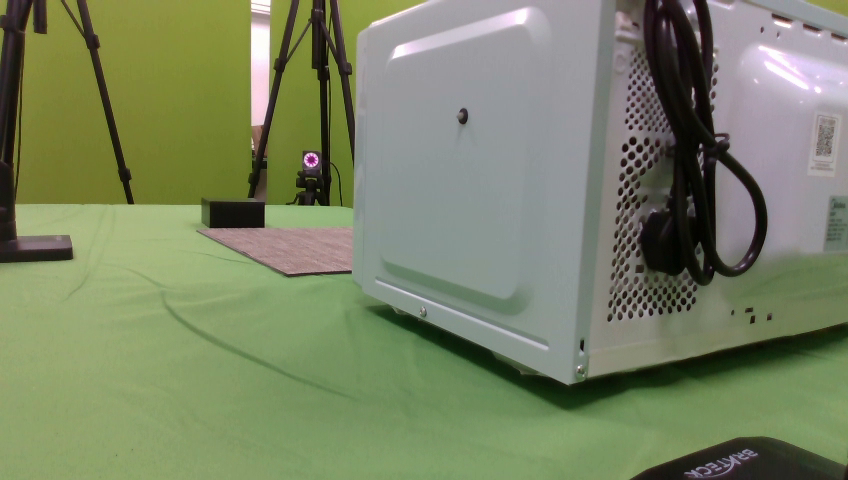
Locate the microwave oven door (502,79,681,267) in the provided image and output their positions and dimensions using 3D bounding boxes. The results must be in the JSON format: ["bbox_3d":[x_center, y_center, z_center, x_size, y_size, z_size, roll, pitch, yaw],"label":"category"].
[{"bbox_3d":[0.233,-0.106,0.925,0.039,0.243,0.354,-1,8,-25],"label":"microwave oven door"}]

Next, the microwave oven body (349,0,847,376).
[{"bbox_3d":[0.199,-0.053,0.540,0.444,0.260,0.324,-1,7,-32],"label":"microwave oven body"}]

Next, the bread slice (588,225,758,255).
[{"bbox_3d":[0.225,-0.001,0.569,0.132,0.019,0.104,1,6,-23],"label":"bread slice"}]

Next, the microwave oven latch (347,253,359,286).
[{"bbox_3d":[-0.034,0.028,0.581,0.079,0.029,0.030,-1,7,-32],"label":"microwave oven latch"}]

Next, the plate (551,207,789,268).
[{"bbox_3d":[0.224,-0.004,0.572,0.209,0.038,0.209,4,7,0],"label":"plate"}]
